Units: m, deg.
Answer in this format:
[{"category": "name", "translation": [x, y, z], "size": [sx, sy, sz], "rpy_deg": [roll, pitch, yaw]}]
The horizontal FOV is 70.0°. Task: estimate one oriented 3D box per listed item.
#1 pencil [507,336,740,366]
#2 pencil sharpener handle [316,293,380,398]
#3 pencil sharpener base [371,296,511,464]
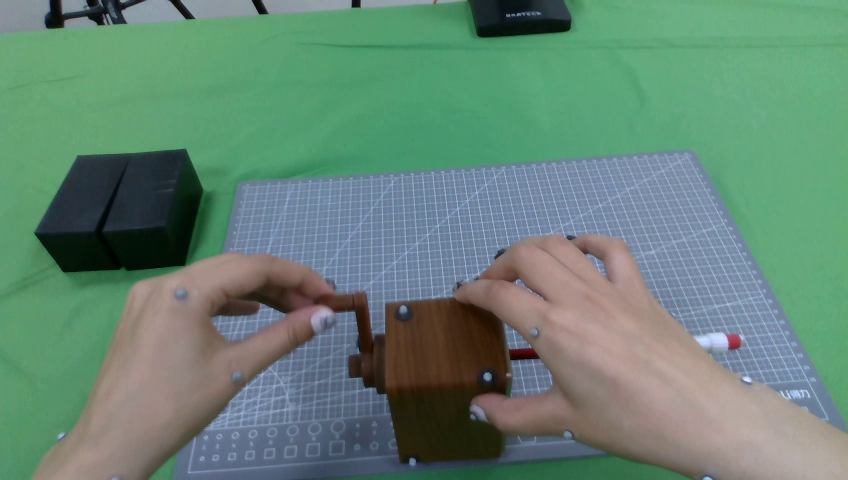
[{"category": "pencil", "translation": [0.091, 0.069, 0.360], "size": [0.194, 0.012, 0.012], "rpy_deg": [-4, 47, -1]}, {"category": "pencil sharpener handle", "translation": [-0.043, 0.061, 0.352], "size": [0.030, 0.068, 0.035], "rpy_deg": [-4, 23, 0]}, {"category": "pencil sharpener base", "translation": [0.010, 0.091, 0.380], "size": [0.077, 0.108, 0.060], "rpy_deg": [-4, 48, 0]}]
